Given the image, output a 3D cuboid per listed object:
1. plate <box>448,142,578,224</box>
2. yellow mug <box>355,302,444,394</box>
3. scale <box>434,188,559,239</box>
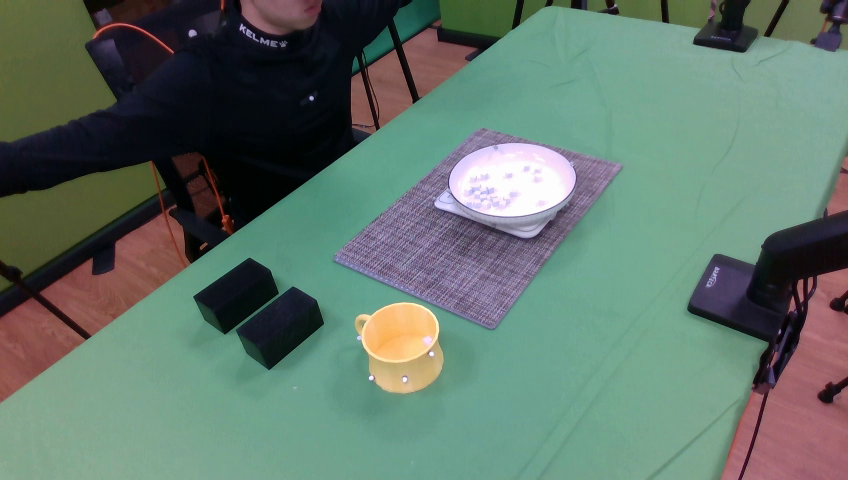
[{"bbox_3d":[0.145,-0.089,0.989,0.209,0.038,0.208,-4,41,4],"label":"plate"},{"bbox_3d":[-0.040,0.133,0.786,0.130,0.064,0.100,20,47,29],"label":"yellow mug"},{"bbox_3d":[0.132,-0.075,1.025,0.199,0.032,0.149,22,48,30],"label":"scale"}]
